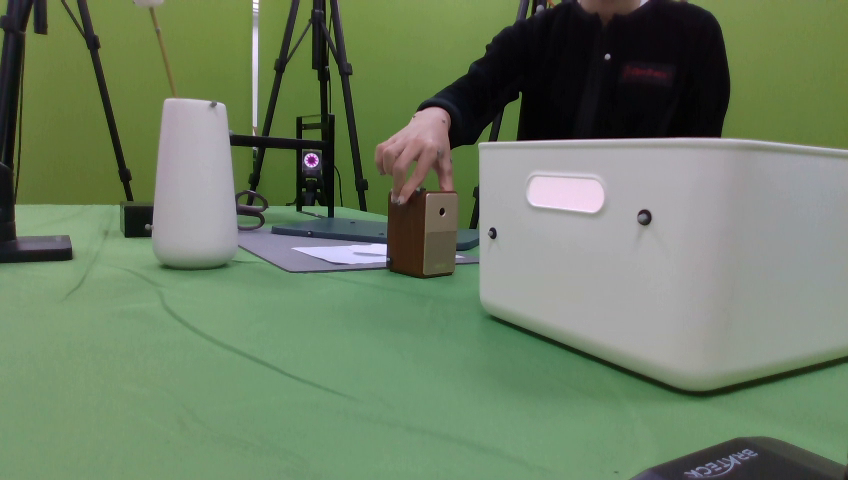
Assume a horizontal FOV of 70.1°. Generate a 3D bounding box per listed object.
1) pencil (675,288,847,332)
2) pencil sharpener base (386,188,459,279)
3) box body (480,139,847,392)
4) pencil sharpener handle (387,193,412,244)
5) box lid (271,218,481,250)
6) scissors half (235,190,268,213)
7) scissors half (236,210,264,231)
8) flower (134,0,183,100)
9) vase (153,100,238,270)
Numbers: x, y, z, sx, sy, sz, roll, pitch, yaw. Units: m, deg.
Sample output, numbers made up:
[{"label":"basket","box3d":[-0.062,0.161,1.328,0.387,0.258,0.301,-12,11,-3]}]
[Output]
[{"label":"pencil","box3d":[0.331,0.066,0.609,0.012,0.012,0.193,-1,7,-26]},{"label":"pencil sharpener base","box3d":[-0.004,-0.011,0.761,0.062,0.107,0.076,-5,10,-44]},{"label":"box body","box3d":[0.255,0.001,0.541,0.366,0.160,0.253,-2,9,-31]},{"label":"pencil sharpener handle","box3d":[-0.038,-0.029,0.797,0.036,0.068,0.030,-15,17,-42]},{"label":"box lid","box3d":[-0.072,-0.014,1.141,0.371,0.015,0.264,5,7,16]},{"label":"scissors half","box3d":[-0.363,-0.070,1.060,0.176,0.040,0.013,0,16,-23]},{"label":"scissors half","box3d":[-0.369,-0.051,1.065,0.176,0.040,0.012,19,13,-27]},{"label":"flower","box3d":[-0.282,-0.147,0.713,0.038,0.362,0.044,-23,24,-31]},{"label":"vase","box3d":[-0.278,-0.066,0.736,0.098,0.200,0.098,2,9,0]}]
